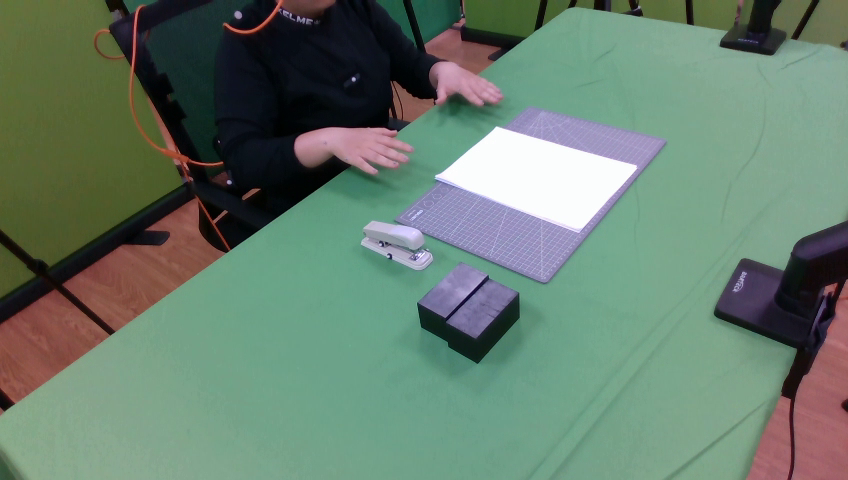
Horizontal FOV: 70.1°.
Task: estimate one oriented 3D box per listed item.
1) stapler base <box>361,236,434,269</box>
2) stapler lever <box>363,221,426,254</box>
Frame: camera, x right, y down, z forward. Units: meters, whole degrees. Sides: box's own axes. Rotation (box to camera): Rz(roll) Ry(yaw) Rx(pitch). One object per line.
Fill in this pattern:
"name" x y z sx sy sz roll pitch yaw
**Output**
"stapler base" -0.044 0.009 0.974 0.129 0.024 0.041 21 46 32
"stapler lever" -0.049 -0.011 0.958 0.117 0.040 0.027 21 46 32
